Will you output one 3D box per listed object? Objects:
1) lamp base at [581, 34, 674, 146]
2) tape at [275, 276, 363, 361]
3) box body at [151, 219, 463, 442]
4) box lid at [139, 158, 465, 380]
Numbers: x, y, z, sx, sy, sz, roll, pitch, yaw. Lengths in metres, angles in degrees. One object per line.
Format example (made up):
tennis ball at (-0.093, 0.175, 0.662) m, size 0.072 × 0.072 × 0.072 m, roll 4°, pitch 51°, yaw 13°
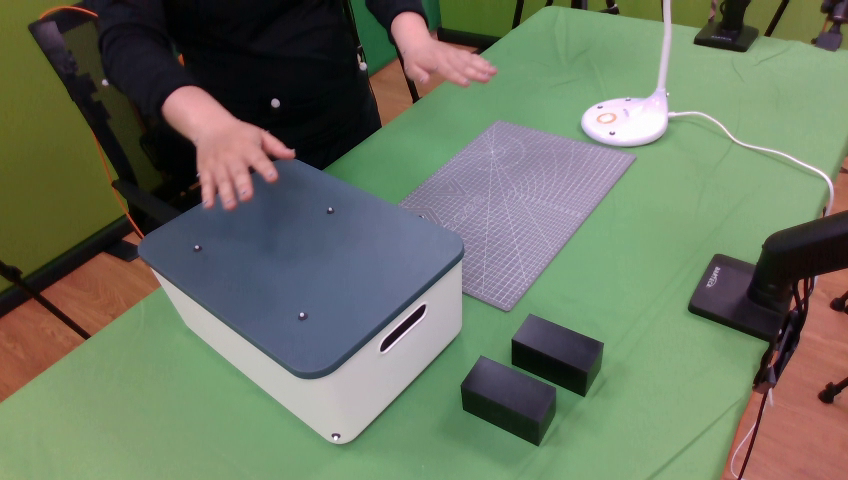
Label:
lamp base at (0.392, -0.291, 1.129) m, size 0.180 × 0.181 × 0.159 m, roll -11°, pitch 41°, yaw -8°
tape at (-0.143, 0.107, 0.831) m, size 0.117 × 0.053 × 0.116 m, roll -4°, pitch 41°, yaw 4°
box body at (-0.152, 0.064, 0.807) m, size 0.361 × 0.161 × 0.255 m, roll 26°, pitch 51°, yaw 33°
box lid at (-0.158, 0.010, 0.758) m, size 0.368 × 0.015 × 0.264 m, roll 26°, pitch 50°, yaw 33°
